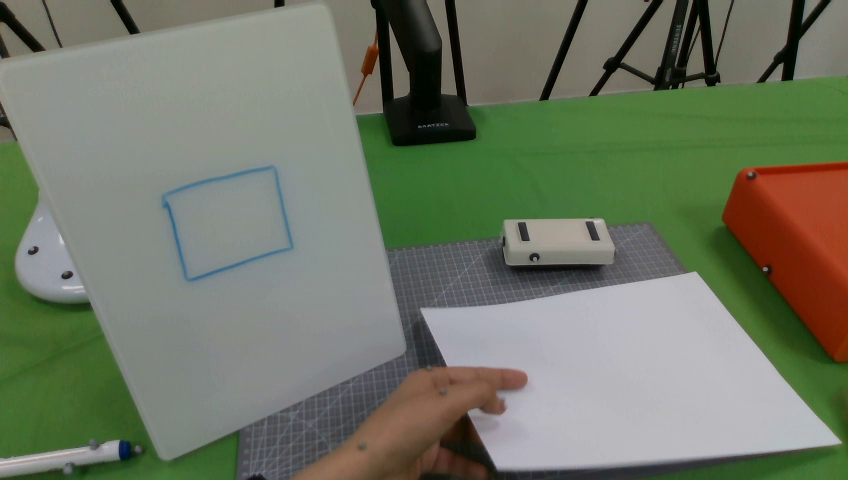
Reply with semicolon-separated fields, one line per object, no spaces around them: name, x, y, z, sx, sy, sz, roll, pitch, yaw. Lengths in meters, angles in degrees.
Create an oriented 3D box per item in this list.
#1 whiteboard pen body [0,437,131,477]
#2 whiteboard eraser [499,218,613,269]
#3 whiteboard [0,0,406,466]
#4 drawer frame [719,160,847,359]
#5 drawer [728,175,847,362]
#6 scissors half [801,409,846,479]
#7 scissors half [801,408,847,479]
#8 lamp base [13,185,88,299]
whiteboard pen body;-0.297;0.167;0.455;0.141;0.017;0.017;-5;40;-13
whiteboard eraser;0.137;0.005;0.640;0.113;0.042;0.055;-1;38;-2
whiteboard;-0.165;-0.018;0.505;0.217;0.307;0.142;-20;25;-22
drawer frame;0.449;0.010;0.611;0.202;0.083;0.211;-5;39;-6
drawer;0.450;0.015;0.607;0.195;0.074;0.209;-4;39;-5
scissors half;0.236;0.163;0.302;0.013;0.040;0.174;-29;82;1
scissors half;0.237;0.164;0.322;0.013;0.175;0.040;-29;8;-4
lamp base;-0.357;-0.058;0.603;0.178;0.182;0.160;20;43;26
